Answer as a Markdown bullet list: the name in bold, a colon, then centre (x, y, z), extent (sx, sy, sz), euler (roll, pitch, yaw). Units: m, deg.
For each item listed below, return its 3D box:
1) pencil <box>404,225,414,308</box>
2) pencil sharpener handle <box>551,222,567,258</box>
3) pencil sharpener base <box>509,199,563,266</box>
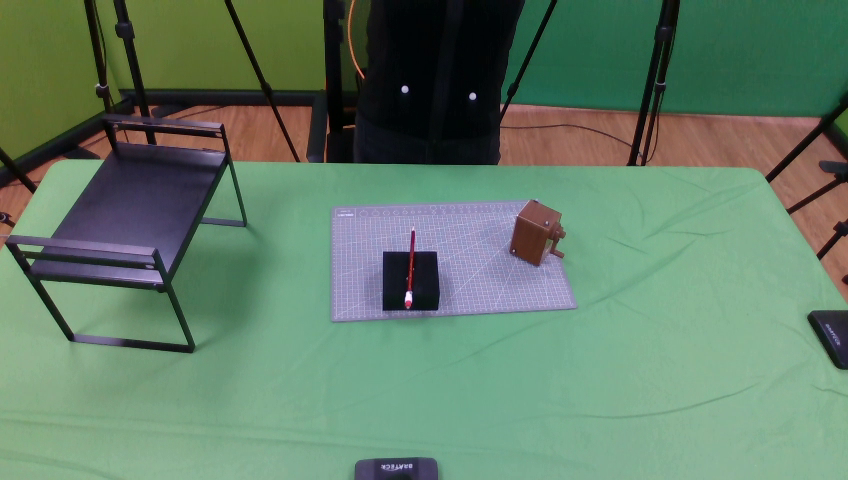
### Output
- **pencil**: centre (-0.025, 0.042, 1.088), extent (0.012, 0.012, 0.193), euler (3, 47, -1)
- **pencil sharpener handle**: centre (0.258, 0.002, 1.132), extent (0.030, 0.068, 0.036), euler (27, 42, 21)
- **pencil sharpener base**: centre (0.216, -0.012, 1.160), extent (0.076, 0.107, 0.061), euler (27, 50, 21)
